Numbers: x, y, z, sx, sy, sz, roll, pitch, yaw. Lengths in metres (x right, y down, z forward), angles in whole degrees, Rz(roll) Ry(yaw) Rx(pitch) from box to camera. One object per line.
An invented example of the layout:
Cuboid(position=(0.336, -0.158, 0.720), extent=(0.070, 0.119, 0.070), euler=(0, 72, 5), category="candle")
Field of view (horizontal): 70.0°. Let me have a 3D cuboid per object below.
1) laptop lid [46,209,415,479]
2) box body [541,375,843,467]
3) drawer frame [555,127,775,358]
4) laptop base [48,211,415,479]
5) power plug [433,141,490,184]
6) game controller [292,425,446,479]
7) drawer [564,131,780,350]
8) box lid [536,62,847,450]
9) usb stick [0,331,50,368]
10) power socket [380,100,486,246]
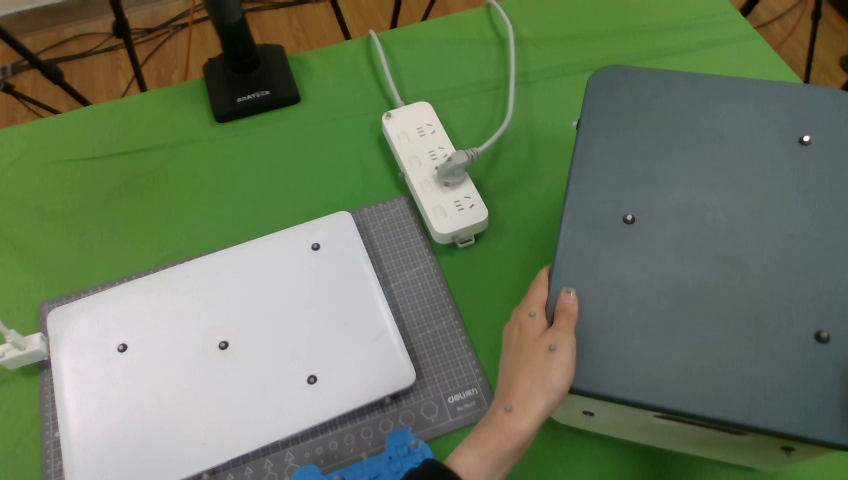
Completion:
Cuboid(position=(-0.212, 0.112, 0.648), extent=(0.357, 0.013, 0.239), euler=(-19, 63, -9), category="laptop lid")
Cuboid(position=(0.270, 0.022, 0.621), extent=(0.254, 0.162, 0.361), euler=(11, 60, 7), category="box body")
Cuboid(position=(0.270, -0.004, 0.674), extent=(0.201, 0.083, 0.212), euler=(17, 57, 9), category="drawer frame")
Cuboid(position=(-0.213, 0.116, 0.659), extent=(0.355, 0.023, 0.233), euler=(-20, 65, -10), category="laptop base")
Cuboid(position=(0.047, -0.088, 0.739), extent=(0.072, 0.053, 0.035), euler=(-9, 59, -6), category="power plug")
Cuboid(position=(-0.055, 0.239, 0.567), extent=(0.155, 0.052, 0.096), euler=(-18, 59, -9), category="game controller")
Cuboid(position=(0.275, -0.005, 0.672), extent=(0.194, 0.074, 0.210), euler=(15, 63, 11), category="drawer")
Cuboid(position=(0.255, -0.021, 0.535), extent=(0.262, 0.015, 0.369), euler=(10, 59, 12), category="box lid")
Cuboid(position=(-0.421, 0.115, 0.649), extent=(0.059, 0.027, 0.021), euler=(-16, 55, -12), category="usb stick")
Cuboid(position=(0.008, -0.092, 0.769), extent=(0.072, 0.033, 0.224), euler=(-19, 61, -11), category="power socket")
